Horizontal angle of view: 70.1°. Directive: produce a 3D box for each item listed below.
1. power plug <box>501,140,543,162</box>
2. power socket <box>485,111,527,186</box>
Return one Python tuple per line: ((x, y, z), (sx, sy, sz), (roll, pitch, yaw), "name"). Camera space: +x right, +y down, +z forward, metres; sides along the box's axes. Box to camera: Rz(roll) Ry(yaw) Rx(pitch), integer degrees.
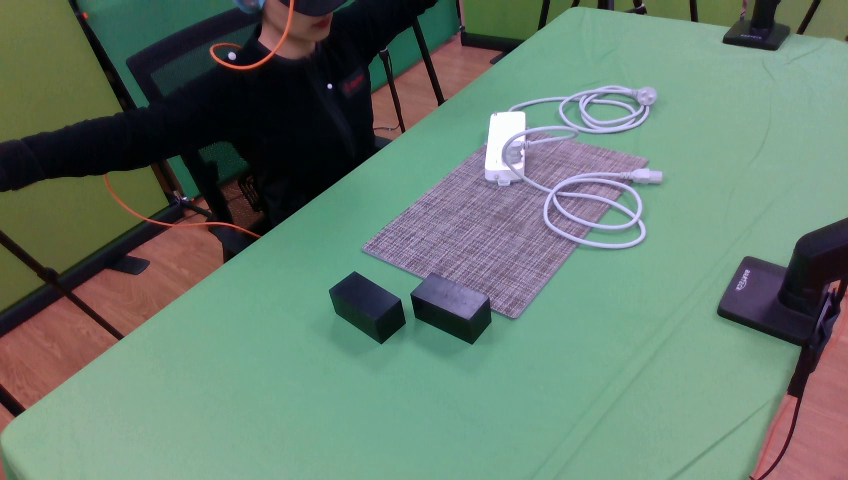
((0.174, -0.150, 1.078), (0.072, 0.053, 0.035), (6, 42, 20), "power plug")
((0.159, -0.181, 1.153), (0.072, 0.033, 0.226), (0, 41, 11), "power socket")
